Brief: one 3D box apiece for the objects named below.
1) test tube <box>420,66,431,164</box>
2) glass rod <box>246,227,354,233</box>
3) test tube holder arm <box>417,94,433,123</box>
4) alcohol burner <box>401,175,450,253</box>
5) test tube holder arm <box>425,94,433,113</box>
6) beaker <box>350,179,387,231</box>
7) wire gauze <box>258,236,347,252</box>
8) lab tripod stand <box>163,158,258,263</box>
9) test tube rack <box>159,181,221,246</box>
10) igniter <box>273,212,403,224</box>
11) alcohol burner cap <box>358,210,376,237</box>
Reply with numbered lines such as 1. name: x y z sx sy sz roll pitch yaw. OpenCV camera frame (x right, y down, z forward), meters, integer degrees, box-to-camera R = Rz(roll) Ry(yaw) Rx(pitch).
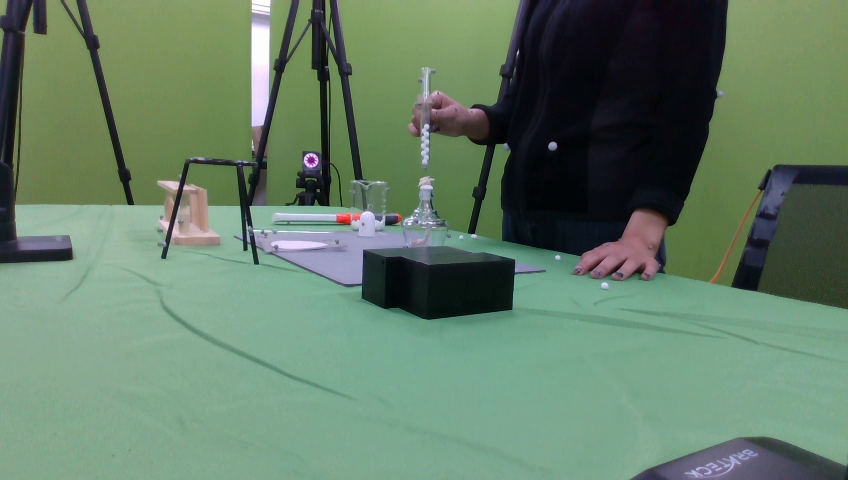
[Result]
1. test tube: 0.002 -0.192 0.927 0.017 0.150 0.017 0 -1 0
2. glass rod: -0.224 -0.017 1.108 0.201 0.008 0.008 1 7 -27
3. test tube holder arm: 0.003 -0.215 0.996 0.013 0.015 0.178 7 1 4
4. alcohol burner: 0.003 -0.040 0.933 0.078 0.119 0.078 2 9 0
5. test tube holder arm: 0.007 -0.213 0.951 0.010 0.015 0.088 6 1 -3
6. beaker: -0.111 -0.069 1.204 0.074 0.100 0.084 2 8 0
7. wire gauze: -0.189 0.005 0.931 0.122 0.011 0.124 1 7 -21
8. lab tripod stand: -0.265 -0.041 0.802 0.148 0.131 0.148 4 7 0
9. test tube rack: -0.395 -0.050 1.010 0.067 0.085 0.241 -1 8 -28
10. igniter: -0.179 -0.048 1.290 0.278 0.025 0.057 -1 -2 -24
11. alcohol burner cap: -0.104 -0.030 1.098 0.034 0.048 0.034 3 7 0
